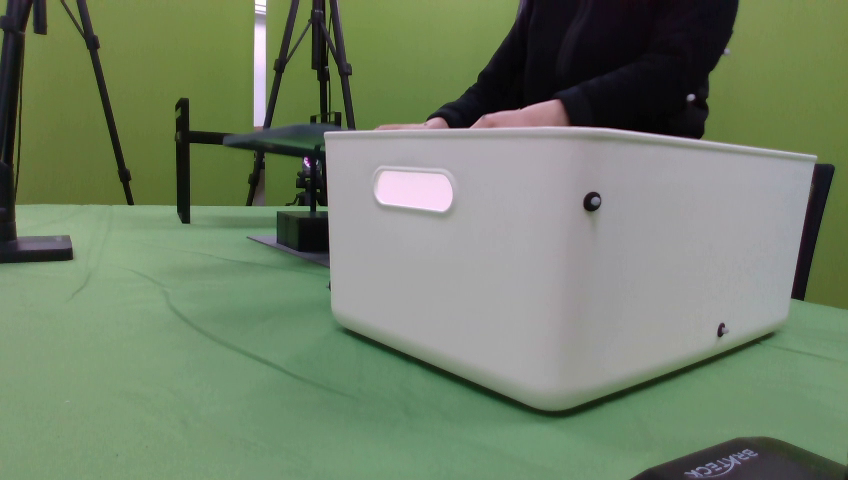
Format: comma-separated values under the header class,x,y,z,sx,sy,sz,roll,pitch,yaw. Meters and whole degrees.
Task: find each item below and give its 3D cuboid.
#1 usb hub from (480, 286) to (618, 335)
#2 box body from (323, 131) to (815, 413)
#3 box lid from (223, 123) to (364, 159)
class,x,y,z,sx,sy,sz,roll,pitch,yaw
usb hub,0.111,0.059,0.526,0.126,0.025,0.049,-2,7,-36
box body,0.125,0.000,0.510,0.366,0.160,0.253,-4,9,-40
box lid,-0.060,-0.120,0.844,0.374,0.015,0.262,2,3,-39
